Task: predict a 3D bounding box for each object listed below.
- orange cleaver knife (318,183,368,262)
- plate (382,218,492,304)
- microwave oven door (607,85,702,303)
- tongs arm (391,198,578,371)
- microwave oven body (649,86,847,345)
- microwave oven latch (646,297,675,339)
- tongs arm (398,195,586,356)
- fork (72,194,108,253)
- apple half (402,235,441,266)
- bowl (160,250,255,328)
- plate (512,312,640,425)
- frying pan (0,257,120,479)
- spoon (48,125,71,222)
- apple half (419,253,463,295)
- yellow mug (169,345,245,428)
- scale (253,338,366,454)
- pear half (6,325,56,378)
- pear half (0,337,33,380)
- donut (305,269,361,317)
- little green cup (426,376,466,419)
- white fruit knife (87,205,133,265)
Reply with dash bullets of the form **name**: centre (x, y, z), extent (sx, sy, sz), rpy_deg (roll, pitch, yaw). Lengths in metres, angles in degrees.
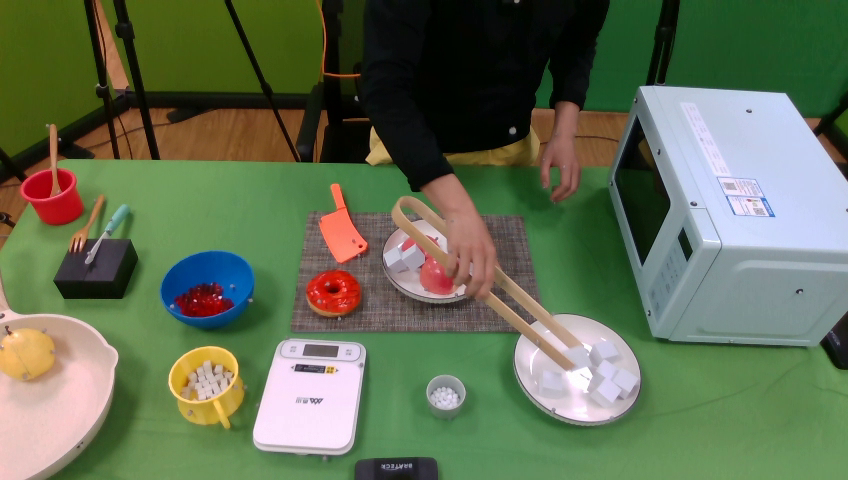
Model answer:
- **orange cleaver knife**: centre (-0.173, -0.037, 1.218), extent (0.077, 0.012, 0.210), rpy_deg (-16, 50, -12)
- **plate**: centre (0.023, 0.042, 1.143), extent (0.209, 0.038, 0.208), rpy_deg (2, 46, -2)
- **microwave oven door**: centre (0.423, -0.094, 1.140), extent (0.039, 0.245, 0.353), rpy_deg (2, 46, -1)
- **tongs arm**: centre (0.091, 0.072, 0.962), extent (0.387, 0.028, 0.028), rpy_deg (41, 46, 5)
- **microwave oven body**: centre (0.567, -0.053, 1.118), extent (0.326, 0.261, 0.439), rpy_deg (2, 45, -1)
- **microwave oven latch**: centre (0.412, 0.134, 1.061), extent (0.030, 0.029, 0.078), rpy_deg (4, 45, 1)
- **tongs arm**: centre (0.104, 0.060, 0.982), extent (0.384, 0.026, 0.050), rpy_deg (43, 43, 7)
- **fork**: centre (-0.634, -0.036, 1.158), extent (0.028, 0.019, 0.206), rpy_deg (-8, 32, -8)
- **apple half**: centre (-0.004, 0.013, 1.159), extent (0.081, 0.033, 0.081), rpy_deg (5, 44, -4)
- **bowl**: centre (-0.362, 0.098, 1.039), extent (0.151, 0.077, 0.150), rpy_deg (2, 45, -2)
- **plate**: centre (0.246, 0.213, 0.999), extent (0.208, 0.039, 0.206), rpy_deg (2, 46, -2)
- **frying pan**: centre (-0.647, 0.164, 0.936), extent (0.307, 0.103, 0.485), rpy_deg (-19, 58, -22)
- **spoon**: centre (-0.718, -0.131, 1.188), extent (0.041, 0.021, 0.193), rpy_deg (-3, 90, -7)
- **apple half**: centre (0.035, 0.056, 1.109), extent (0.074, 0.053, 0.081), rpy_deg (37, 55, 25)
- **yellow mug**: centre (-0.322, 0.230, 0.922), extent (0.100, 0.064, 0.130), rpy_deg (-24, 53, -25)
- **scale**: centre (-0.175, 0.236, 0.951), extent (0.149, 0.032, 0.199), rpy_deg (4, 46, -1)
- **pear half**: centre (-0.608, 0.158, 0.935), extent (0.076, 0.110, 0.056), rpy_deg (31, 51, 20)
- **pear half**: centre (-0.631, 0.184, 0.921), extent (0.070, 0.088, 0.031), rpy_deg (29, 49, 19)
- **donut**: centre (-0.160, 0.094, 1.075), extent (0.099, 0.048, 0.098), rpy_deg (4, 46, -3)
- **little green cup**: centre (0.033, 0.248, 0.950), extent (0.061, 0.039, 0.061), rpy_deg (2, 46, -2)
- **white fruit knife**: centre (-0.584, -0.013, 1.129), extent (0.016, 0.027, 0.206), rpy_deg (0, 31, -5)
